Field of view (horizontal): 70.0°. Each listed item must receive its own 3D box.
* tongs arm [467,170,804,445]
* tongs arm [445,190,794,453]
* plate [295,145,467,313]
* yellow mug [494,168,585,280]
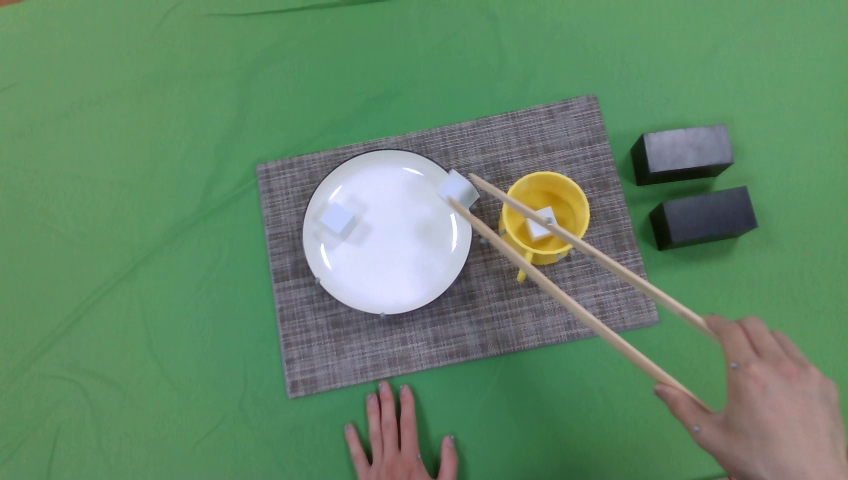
[{"bbox_3d":[0.161,0.038,0.554,0.050,0.027,0.381,-46,54,-10],"label":"tongs arm"},{"bbox_3d":[0.143,0.054,0.551,0.028,0.028,0.383,-40,53,-11],"label":"tongs arm"},{"bbox_3d":[-0.051,-0.012,0.741,0.207,0.039,0.206,0,78,3],"label":"plate"},{"bbox_3d":[0.130,-0.014,0.718,0.100,0.064,0.130,20,80,6],"label":"yellow mug"}]
